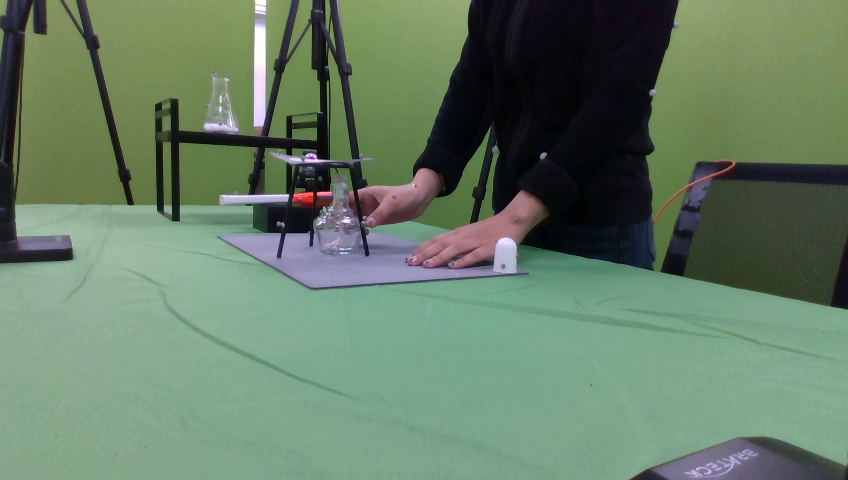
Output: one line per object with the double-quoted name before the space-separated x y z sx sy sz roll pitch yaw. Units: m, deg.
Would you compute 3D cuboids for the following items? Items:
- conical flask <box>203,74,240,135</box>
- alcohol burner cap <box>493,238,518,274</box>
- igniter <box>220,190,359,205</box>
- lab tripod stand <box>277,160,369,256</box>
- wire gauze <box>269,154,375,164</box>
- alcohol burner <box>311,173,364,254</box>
"conical flask" -0.425 -0.284 1.272 0.075 0.122 0.075 3 7 0
"alcohol burner cap" 0.107 0.021 0.785 0.034 0.048 0.034 1 7 0
"igniter" -0.246 -0.081 1.158 0.278 0.025 0.057 -5 7 -33
"lab tripod stand" -0.149 -0.046 0.861 0.148 0.131 0.148 3 9 0
"wire gauze" -0.146 -0.114 0.860 0.122 0.011 0.124 -2 9 -29
"alcohol burner" -0.125 -0.039 0.887 0.078 0.119 0.078 4 8 0
